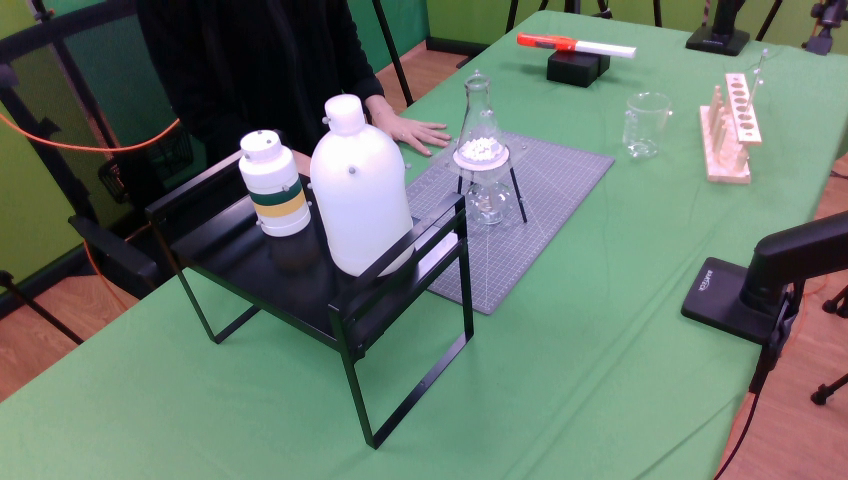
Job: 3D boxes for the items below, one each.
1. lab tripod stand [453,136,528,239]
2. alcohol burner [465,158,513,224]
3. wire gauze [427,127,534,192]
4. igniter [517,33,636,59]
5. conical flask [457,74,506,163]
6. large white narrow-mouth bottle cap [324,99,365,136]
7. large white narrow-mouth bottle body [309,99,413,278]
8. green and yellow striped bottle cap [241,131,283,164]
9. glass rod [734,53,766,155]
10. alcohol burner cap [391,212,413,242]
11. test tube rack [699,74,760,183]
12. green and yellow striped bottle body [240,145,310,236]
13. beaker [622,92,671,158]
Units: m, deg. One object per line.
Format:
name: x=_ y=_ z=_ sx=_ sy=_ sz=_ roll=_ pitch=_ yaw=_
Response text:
lab tripod stand: x=0.095 y=-0.086 z=0.974 sx=0.148 sy=0.132 sz=0.147 roll=-4 pitch=43 yaw=4
alcohol burner: x=0.105 y=-0.085 z=0.987 sx=0.078 sy=0.119 sz=0.077 roll=-5 pitch=43 yaw=5
wire gauze: x=0.086 y=-0.130 z=0.925 sx=0.124 sy=0.011 sz=0.122 roll=28 pitch=54 yaw=31
igniter: x=0.336 y=-0.441 z=1.369 sx=0.275 sy=0.025 sz=0.057 roll=17 pitch=41 yaw=24
conical flask: x=0.082 y=-0.181 z=0.893 sx=0.075 sy=0.122 sz=0.075 roll=-4 pitch=41 yaw=4
large white narrow-mouth bottle cap: x=-0.076 y=-0.119 z=0.586 sx=0.038 sy=0.024 sz=0.037 roll=-3 pitch=42 yaw=3
large white narrow-mouth bottle body: x=-0.068 y=-0.057 z=0.645 sx=0.102 sy=0.195 sz=0.101 roll=-3 pitch=42 yaw=4
green and yellow striped bottle cap: x=-0.187 y=-0.107 z=0.695 sx=0.045 sy=0.020 sz=0.045 roll=-3 pitch=39 yaw=3
glass rod: x=0.540 y=-0.220 z=1.006 sx=0.008 sy=0.201 sz=0.008 roll=-5 pitch=45 yaw=6
alcohol burner cap: x=-0.038 y=-0.023 z=0.989 sx=0.034 sy=0.048 sz=0.033 roll=-5 pitch=40 yaw=5
test tube rack: x=0.547 y=-0.208 z=1.095 sx=0.066 sy=0.085 sz=0.242 roll=6 pitch=42 yaw=15
green and yellow striped bottle body: x=-0.181 y=-0.068 z=0.729 sx=0.063 sy=0.120 sz=0.063 roll=-4 pitch=40 yaw=4
beaker: x=0.402 y=-0.209 z=1.106 sx=0.074 sy=0.101 sz=0.083 roll=-9 pitch=40 yaw=-2
